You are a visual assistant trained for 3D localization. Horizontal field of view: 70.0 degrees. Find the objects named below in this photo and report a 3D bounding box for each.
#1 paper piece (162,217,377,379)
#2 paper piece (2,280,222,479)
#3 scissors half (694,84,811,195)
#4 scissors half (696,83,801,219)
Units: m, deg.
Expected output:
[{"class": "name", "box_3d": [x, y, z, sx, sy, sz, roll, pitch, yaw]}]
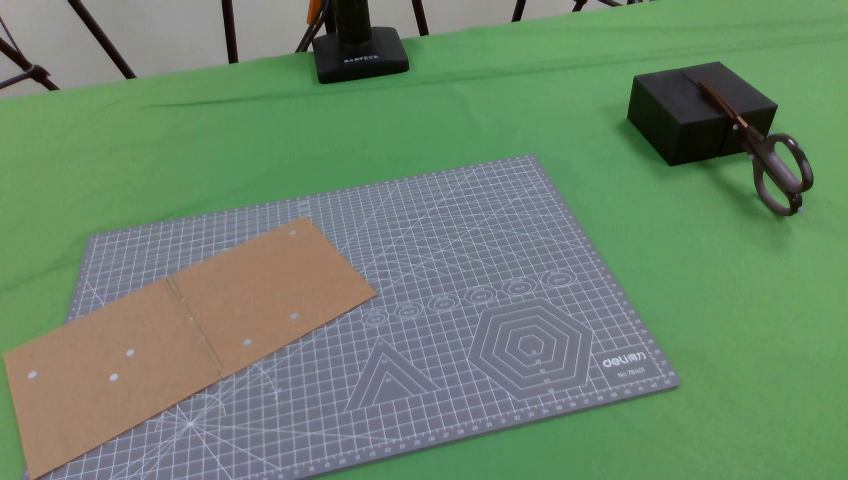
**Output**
[{"class": "paper piece", "box_3d": [-0.133, 0.040, 0.516, 0.138, 0.009, 0.134, -26, 50, -24]}, {"class": "paper piece", "box_3d": [-0.242, 0.096, 0.463, 0.136, 0.004, 0.134, -27, 45, -23]}, {"class": "scissors half", "box_3d": [0.298, -0.102, 0.562, 0.013, 0.040, 0.173, -19, 42, 0]}, {"class": "scissors half", "box_3d": [0.301, -0.090, 0.578, 0.013, 0.040, 0.173, -15, 60, -3]}]
